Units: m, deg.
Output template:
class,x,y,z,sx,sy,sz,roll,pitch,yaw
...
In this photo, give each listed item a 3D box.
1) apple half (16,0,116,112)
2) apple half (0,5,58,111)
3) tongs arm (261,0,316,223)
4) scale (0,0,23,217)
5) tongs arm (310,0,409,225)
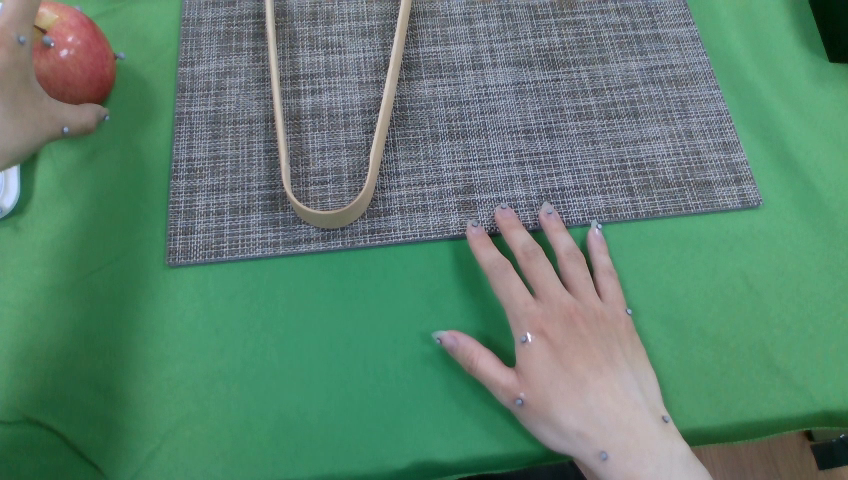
class,x,y,z,sx,sy,sz,roll,pitch,yaw
apple half,-0.271,-0.143,0.472,0.053,0.075,0.080,-15,63,-10
apple half,-0.309,-0.133,0.465,0.033,0.082,0.080,-14,67,-10
tongs arm,-0.124,-0.189,0.515,0.028,0.028,0.384,-7,67,-8
scale,-0.392,-0.098,0.472,0.149,0.032,0.199,-11,67,-5
tongs arm,-0.039,-0.189,0.515,0.051,0.027,0.382,5,67,1
